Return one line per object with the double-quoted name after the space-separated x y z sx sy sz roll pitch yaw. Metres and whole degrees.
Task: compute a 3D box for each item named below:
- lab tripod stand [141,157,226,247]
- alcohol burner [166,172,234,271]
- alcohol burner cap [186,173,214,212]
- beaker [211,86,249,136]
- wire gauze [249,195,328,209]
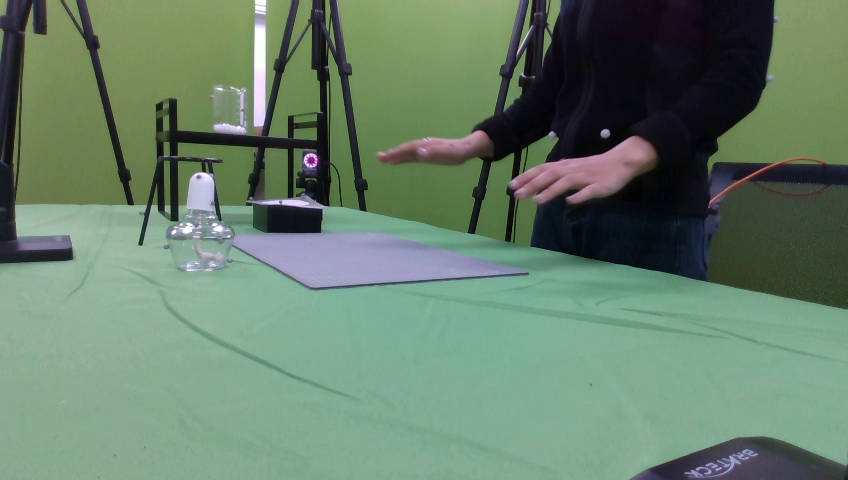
-0.353 -0.060 0.920 0.148 0.131 0.148 1 6 0 "lab tripod stand"
-0.271 -0.023 0.735 0.078 0.119 0.078 2 5 0 "alcohol burner"
-0.268 -0.057 0.731 0.034 0.048 0.034 6 2 0 "alcohol burner cap"
-0.413 -0.274 1.297 0.074 0.100 0.083 -5 11 -44 "beaker"
-0.260 -0.071 1.139 0.126 0.011 0.121 -3 12 -28 "wire gauze"
